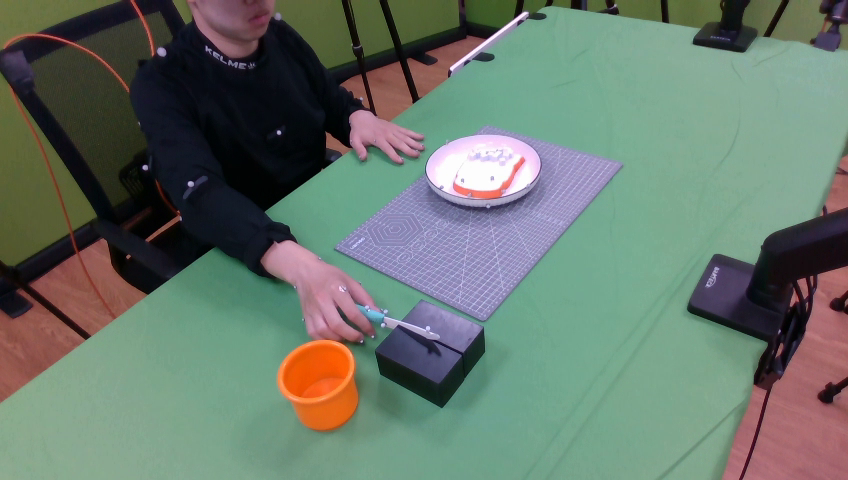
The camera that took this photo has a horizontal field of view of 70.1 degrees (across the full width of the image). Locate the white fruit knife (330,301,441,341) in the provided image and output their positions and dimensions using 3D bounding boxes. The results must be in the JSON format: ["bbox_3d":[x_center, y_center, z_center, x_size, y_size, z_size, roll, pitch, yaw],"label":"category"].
[{"bbox_3d":[-0.056,0.108,0.807,0.205,0.027,0.016,9,47,40],"label":"white fruit knife"}]

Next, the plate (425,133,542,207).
[{"bbox_3d":[0.106,-0.121,1.079,0.209,0.038,0.208,-4,41,4],"label":"plate"}]

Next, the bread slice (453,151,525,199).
[{"bbox_3d":[0.112,-0.118,1.079,0.104,0.019,0.131,11,42,21],"label":"bread slice"}]
